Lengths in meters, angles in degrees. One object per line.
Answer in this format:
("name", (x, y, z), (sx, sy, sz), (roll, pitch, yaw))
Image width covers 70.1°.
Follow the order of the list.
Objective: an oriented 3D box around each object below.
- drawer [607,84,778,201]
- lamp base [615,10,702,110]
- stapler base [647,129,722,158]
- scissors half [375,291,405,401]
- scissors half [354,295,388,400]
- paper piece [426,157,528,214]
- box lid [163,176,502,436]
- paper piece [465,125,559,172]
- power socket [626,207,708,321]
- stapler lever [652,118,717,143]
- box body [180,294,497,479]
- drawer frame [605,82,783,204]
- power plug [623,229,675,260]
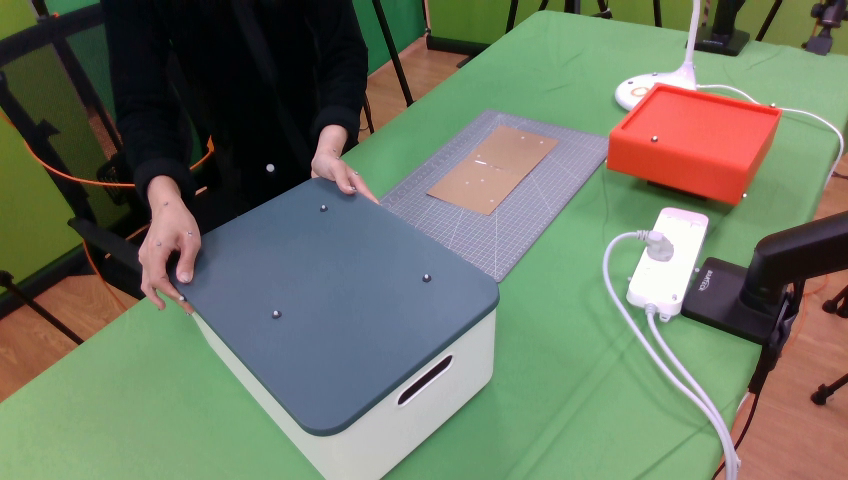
("drawer", (0.438, -0.167, 0.995), (0.210, 0.073, 0.195), (23, 48, 30))
("lamp base", (0.484, -0.364, 1.211), (0.180, 0.181, 0.159), (-15, 41, -14))
("stapler base", (0.439, -0.167, 1.023), (0.131, 0.024, 0.041), (-17, 25, -15))
("scissors half", (-0.048, 0.138, 0.816), (0.040, 0.013, 0.174), (-5, 46, 10))
("scissors half", (-0.068, 0.143, 0.818), (0.040, 0.013, 0.174), (-21, 44, 2))
("paper piece", (0.096, -0.103, 1.089), (0.134, 0.004, 0.136), (23, 48, 30))
("box lid", (-0.121, 0.044, 0.716), (0.264, 0.015, 0.368), (-34, 47, -28))
("paper piece", (0.172, -0.177, 1.167), (0.137, 0.009, 0.136), (21, 44, 30))
("power socket", (0.360, 0.026, 0.886), (0.072, 0.033, 0.227), (16, 46, 26))
("stapler lever", (0.436, -0.192, 1.014), (0.118, 0.040, 0.026), (-15, 24, -16))
("box body", (-0.112, 0.101, 0.764), (0.255, 0.161, 0.361), (-34, 47, -28))
("drawer frame", (0.441, -0.167, 0.995), (0.212, 0.083, 0.202), (23, 48, 30))
("power plug", (0.327, 0.007, 0.878), (0.072, 0.053, 0.035), (25, 51, 33))
